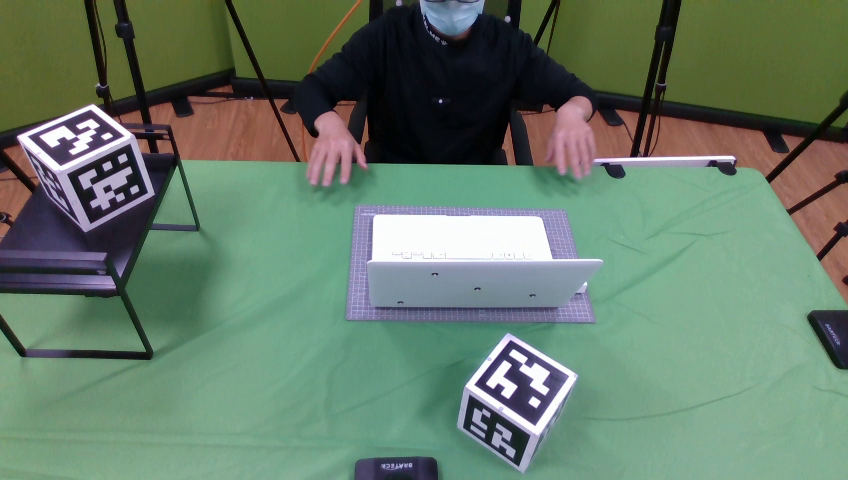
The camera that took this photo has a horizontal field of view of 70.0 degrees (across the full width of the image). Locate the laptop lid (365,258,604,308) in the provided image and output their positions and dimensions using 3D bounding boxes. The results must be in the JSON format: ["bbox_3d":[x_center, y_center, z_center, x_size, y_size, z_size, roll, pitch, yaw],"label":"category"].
[{"bbox_3d":[0.085,0.074,0.978,0.357,0.242,0.013,1,67,-5],"label":"laptop lid"}]

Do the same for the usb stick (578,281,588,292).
[{"bbox_3d":[0.271,0.082,1.119,0.059,0.027,0.021,-2,47,-1],"label":"usb stick"}]

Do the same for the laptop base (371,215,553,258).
[{"bbox_3d":[0.075,0.037,1.167,0.355,0.023,0.234,0,43,-4],"label":"laptop base"}]
